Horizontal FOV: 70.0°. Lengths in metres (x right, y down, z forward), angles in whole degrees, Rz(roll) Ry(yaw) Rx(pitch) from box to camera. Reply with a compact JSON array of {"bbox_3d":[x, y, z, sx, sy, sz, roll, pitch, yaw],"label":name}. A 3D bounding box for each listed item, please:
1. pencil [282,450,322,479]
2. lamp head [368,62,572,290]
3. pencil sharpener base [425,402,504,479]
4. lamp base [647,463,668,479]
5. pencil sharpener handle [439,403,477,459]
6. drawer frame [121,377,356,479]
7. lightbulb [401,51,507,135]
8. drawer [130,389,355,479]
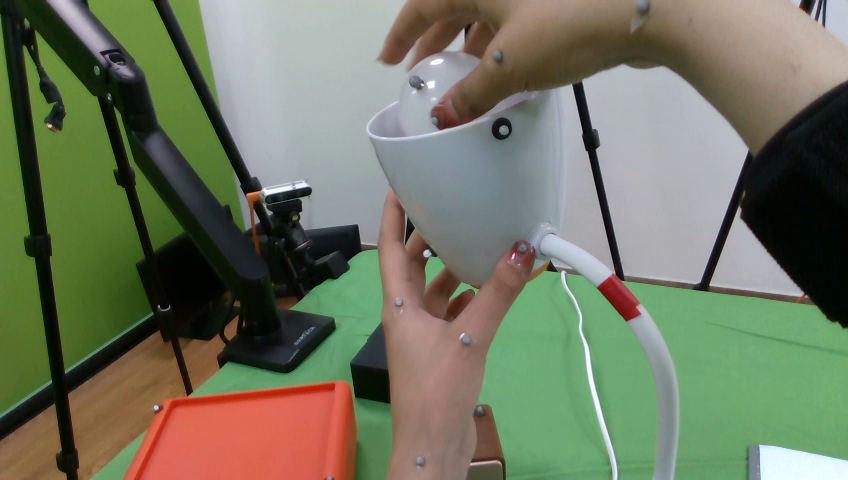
[{"bbox_3d":[-0.164,0.249,0.524,0.194,0.012,0.012,-37,38,-30],"label":"pencil"},{"bbox_3d":[0.039,-0.031,0.358,0.112,0.124,0.111,-18,21,8],"label":"lamp head"},{"bbox_3d":[0.036,0.207,0.537,0.061,0.108,0.076,-6,25,-1],"label":"pencil sharpener base"},{"bbox_3d":[0.148,0.240,0.357,0.161,0.181,0.178,-8,21,-5],"label":"lamp base"},{"bbox_3d":[0.030,0.176,0.578,0.036,0.068,0.030,0,25,-4],"label":"pencil sharpener handle"},{"bbox_3d":[-0.169,0.230,0.554,0.202,0.083,0.212,-6,24,-2],"label":"drawer frame"},{"bbox_3d":[0.024,-0.055,0.351,0.059,0.108,0.059,-17,27,9],"label":"lightbulb"},{"bbox_3d":[-0.167,0.232,0.552,0.194,0.074,0.210,-6,24,-1],"label":"drawer"}]
